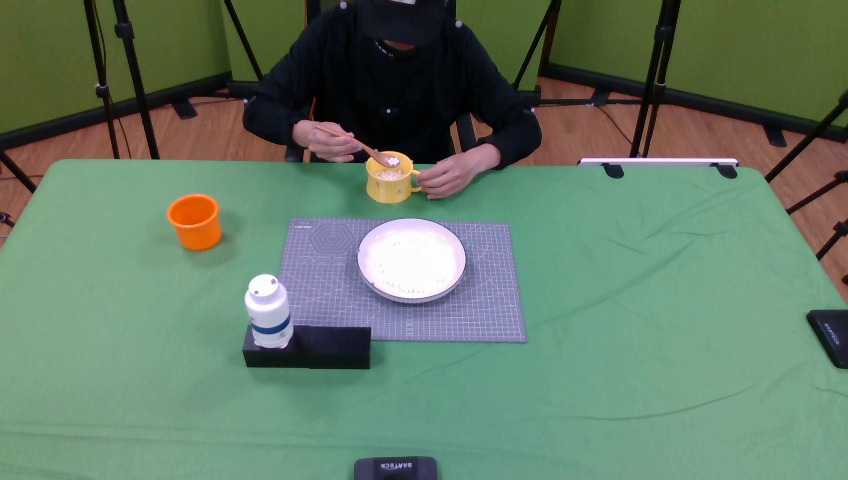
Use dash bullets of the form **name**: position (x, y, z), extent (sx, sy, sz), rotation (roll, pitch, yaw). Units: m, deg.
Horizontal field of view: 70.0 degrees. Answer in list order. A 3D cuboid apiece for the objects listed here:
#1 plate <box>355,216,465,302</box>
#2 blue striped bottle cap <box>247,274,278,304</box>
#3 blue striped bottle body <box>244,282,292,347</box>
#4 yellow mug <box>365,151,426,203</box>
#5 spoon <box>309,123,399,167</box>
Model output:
- **plate**: position (-0.027, 0.039, 1.144), extent (0.208, 0.039, 0.206), rotation (2, 46, -2)
- **blue striped bottle cap**: position (-0.239, 0.072, 0.900), extent (0.044, 0.021, 0.044), rotation (4, 46, -4)
- **blue striped bottle body**: position (-0.241, 0.108, 0.937), extent (0.063, 0.121, 0.062), rotation (2, 46, -2)
- **yellow mug**: position (-0.061, -0.133, 1.291), extent (0.131, 0.064, 0.099), rotation (8, 46, 3)
- **spoon**: position (-0.134, -0.188, 1.184), extent (0.195, 0.021, 0.041), rotation (25, 37, -28)
